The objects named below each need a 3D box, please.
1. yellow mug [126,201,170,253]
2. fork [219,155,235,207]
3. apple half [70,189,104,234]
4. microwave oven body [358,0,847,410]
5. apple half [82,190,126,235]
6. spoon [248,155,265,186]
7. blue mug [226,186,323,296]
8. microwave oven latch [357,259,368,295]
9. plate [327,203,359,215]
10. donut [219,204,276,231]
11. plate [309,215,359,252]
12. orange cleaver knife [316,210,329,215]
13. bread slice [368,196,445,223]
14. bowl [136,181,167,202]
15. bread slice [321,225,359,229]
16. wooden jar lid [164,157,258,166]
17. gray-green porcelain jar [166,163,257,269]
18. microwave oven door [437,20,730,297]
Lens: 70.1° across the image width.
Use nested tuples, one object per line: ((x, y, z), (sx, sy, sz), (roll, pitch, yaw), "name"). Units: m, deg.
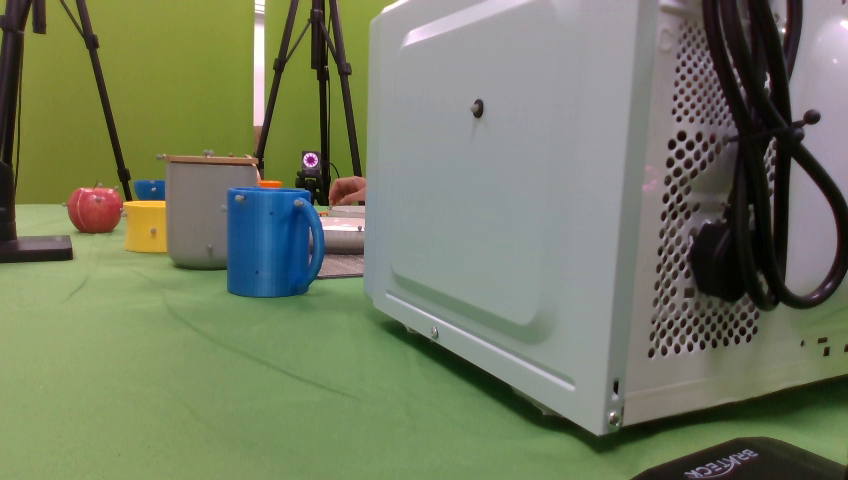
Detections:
((-0.361, -0.019, 0.866), (0.130, 0.064, 0.100), (6, 9, 27), "yellow mug")
((-0.459, -0.134, 1.415), (0.028, 0.018, 0.207), (-1, -34, -25), "fork")
((-0.552, -0.048, 1.010), (0.053, 0.074, 0.081), (-1, 9, 26), "apple half")
((0.210, -0.051, 0.471), (0.444, 0.260, 0.324), (-1, 7, -28), "microwave oven body")
((-0.516, -0.046, 0.994), (0.032, 0.081, 0.081), (0, 6, 26), "apple half")
((-0.417, -0.150, 1.543), (0.042, 0.193, 0.021), (-6, -33, -32), "spoon")
((-0.148, 0.000, 0.618), (0.116, 0.106, 0.083), (7, 9, 33), "blue mug")
((-0.019, 0.031, 0.529), (0.079, 0.029, 0.030), (-1, 7, -26), "microwave oven latch")
((-0.102, -0.053, 1.299), (0.209, 0.038, 0.209), (2, 8, 0), "plate")
((-0.316, -0.039, 1.083), (0.099, 0.048, 0.099), (2, 7, 0), "donut")
((-0.130, -0.011, 0.945), (0.208, 0.039, 0.207), (2, 8, 0), "plate")
((-0.259, -0.064, 1.423), (0.212, 0.012, 0.077), (-4, 3, -30), "orange cleaver knife")
((-0.040, -0.057, 1.142), (0.107, 0.018, 0.133), (-8, -8, -40), "bread slice")
((-0.497, -0.076, 1.221), (0.151, 0.077, 0.151), (2, 8, 0), "bowl")
((-0.125, -0.008, 0.938), (0.131, 0.019, 0.105), (5, 9, 32), "bread slice")
((-0.261, -0.093, 0.746), (0.108, 0.020, 0.108), (0, 9, 0), "wooden jar lid")
((-0.263, -0.031, 0.754), (0.106, 0.126, 0.106), (2, 7, 0), "gray-green porcelain jar")
((0.181, -0.076, 0.618), (0.358, 0.243, 0.039), (-2, 9, -28), "microwave oven door")
